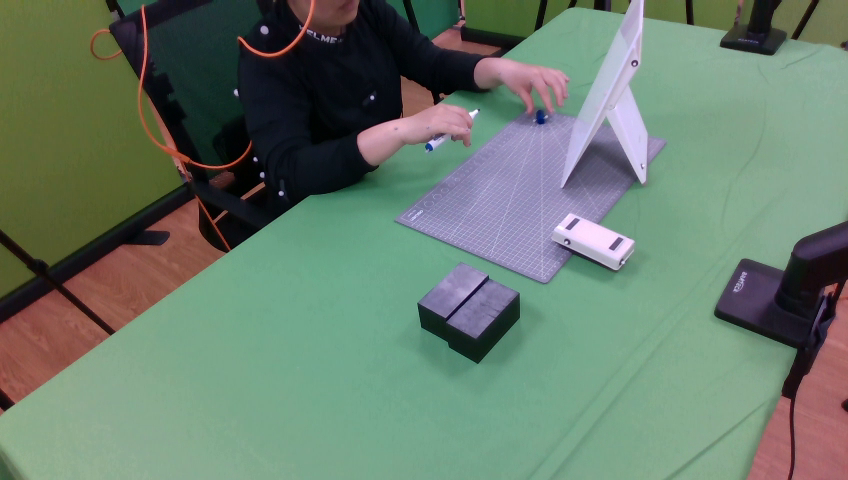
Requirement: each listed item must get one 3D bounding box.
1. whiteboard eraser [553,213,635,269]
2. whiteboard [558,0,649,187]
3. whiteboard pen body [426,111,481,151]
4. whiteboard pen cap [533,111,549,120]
[{"bbox_3d":[0.257,0.003,0.918,0.112,0.042,0.056,27,49,30],"label":"whiteboard eraser"},{"bbox_3d":[0.362,-0.238,1.026,0.144,0.306,0.217,21,44,3],"label":"whiteboard"},{"bbox_3d":[0.055,-0.197,1.080,0.017,0.017,0.141,29,55,36],"label":"whiteboard pen body"},{"bbox_3d":[0.239,-0.255,1.237,0.018,0.018,0.033,-28,26,-22],"label":"whiteboard pen cap"}]
